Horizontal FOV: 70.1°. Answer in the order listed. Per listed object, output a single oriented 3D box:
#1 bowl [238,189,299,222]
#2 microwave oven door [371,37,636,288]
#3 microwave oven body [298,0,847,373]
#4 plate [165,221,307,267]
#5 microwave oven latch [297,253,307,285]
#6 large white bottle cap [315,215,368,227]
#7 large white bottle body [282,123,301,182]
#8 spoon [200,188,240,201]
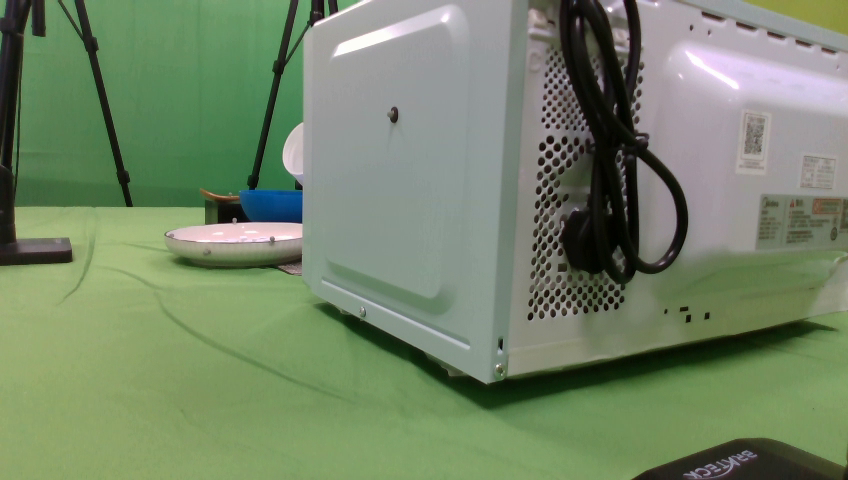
[{"bbox_3d":[-0.245,-0.045,1.053,0.151,0.077,0.151,2,8,0],"label":"bowl"},{"bbox_3d":[0.109,-0.080,0.686,0.358,0.243,0.039,-2,9,-33],"label":"microwave oven door"},{"bbox_3d":[0.151,-0.055,0.542,0.444,0.260,0.324,-2,7,-33],"label":"microwave oven body"},{"bbox_3d":[-0.241,0.004,0.829,0.209,0.038,0.209,0,9,0],"label":"plate"},{"bbox_3d":[-0.082,0.027,0.583,0.079,0.029,0.030,-2,7,-33],"label":"microwave oven latch"},{"bbox_3d":[-0.177,-0.042,1.309,0.115,0.018,0.115,2,6,0],"label":"large white bottle cap"},{"bbox_3d":[-0.171,-0.146,1.173,0.130,0.130,0.185,8,-11,34],"label":"large white bottle body"},{"bbox_3d":[-0.338,-0.080,1.190,0.194,0.021,0.041,5,3,-19],"label":"spoon"}]
